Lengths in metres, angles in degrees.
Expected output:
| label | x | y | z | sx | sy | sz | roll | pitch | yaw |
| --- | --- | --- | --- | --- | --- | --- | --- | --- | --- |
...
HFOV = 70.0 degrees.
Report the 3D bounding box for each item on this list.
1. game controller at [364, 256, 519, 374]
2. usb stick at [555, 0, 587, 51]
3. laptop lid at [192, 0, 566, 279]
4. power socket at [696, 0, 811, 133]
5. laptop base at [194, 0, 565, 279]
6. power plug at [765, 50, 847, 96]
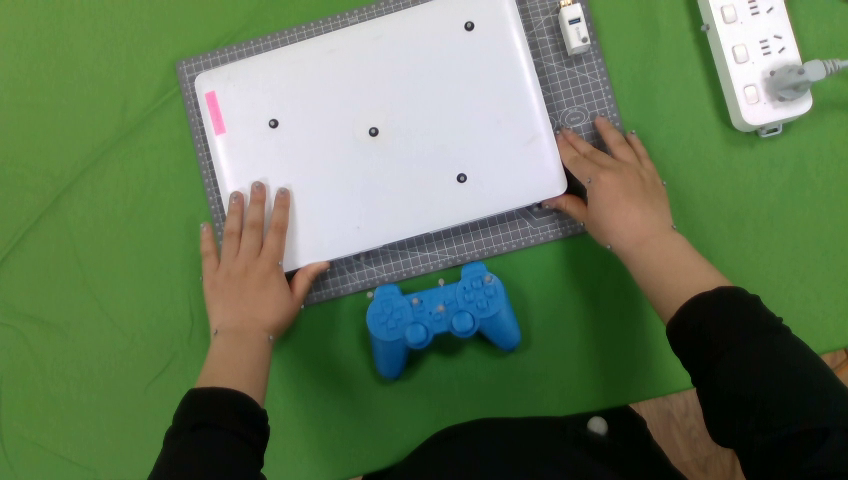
| label | x | y | z | sx | sy | sz | roll | pitch | yaw |
| --- | --- | --- | --- | --- | --- | --- | --- | --- | --- |
| game controller | 0.014 | 0.076 | 0.620 | 0.155 | 0.052 | 0.097 | -14 | 82 | 4 |
| usb stick | 0.150 | -0.229 | 0.626 | 0.021 | 0.027 | 0.059 | -15 | 84 | 8 |
| laptop lid | -0.053 | -0.115 | 0.629 | 0.356 | 0.013 | 0.241 | -14 | 86 | 4 |
| power socket | 0.323 | -0.222 | 0.611 | 0.072 | 0.032 | 0.226 | -14 | 86 | 5 |
| laptop base | -0.052 | -0.117 | 0.646 | 0.354 | 0.023 | 0.235 | -16 | 90 | 4 |
| power plug | 0.368 | -0.158 | 0.585 | 0.072 | 0.053 | 0.035 | -3 | 86 | 0 |
